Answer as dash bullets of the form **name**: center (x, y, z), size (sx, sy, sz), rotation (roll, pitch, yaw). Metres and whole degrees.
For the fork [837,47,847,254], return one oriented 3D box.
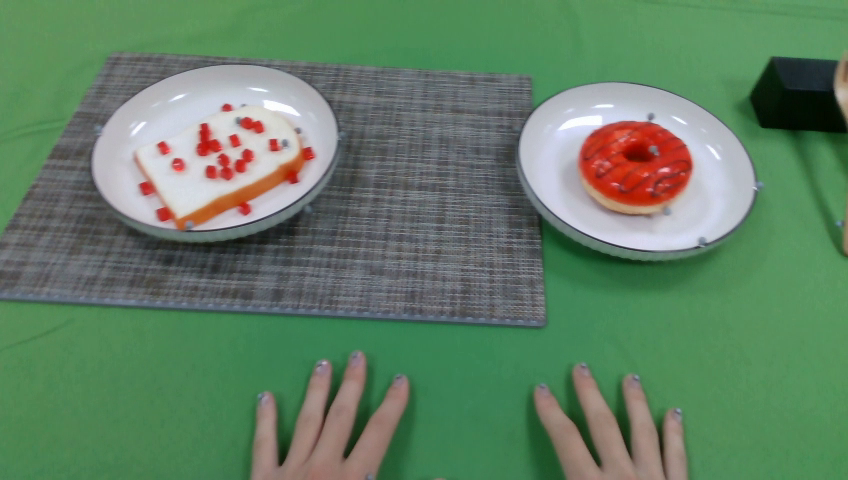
- **fork**: center (0.386, -0.084, 0.544), size (0.028, 0.019, 0.206), rotation (13, 72, 1)

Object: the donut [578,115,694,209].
- **donut**: center (0.186, -0.070, 0.535), size (0.099, 0.048, 0.098), rotation (0, 55, 1)

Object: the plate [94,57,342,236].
- **plate**: center (-0.177, -0.083, 0.539), size (0.209, 0.038, 0.207), rotation (1, 54, -1)

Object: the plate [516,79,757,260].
- **plate**: center (0.185, -0.064, 0.545), size (0.208, 0.039, 0.205), rotation (1, 54, -2)

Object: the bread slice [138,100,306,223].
- **bread slice**: center (-0.175, -0.079, 0.539), size (0.131, 0.019, 0.104), rotation (-31, 62, -22)
